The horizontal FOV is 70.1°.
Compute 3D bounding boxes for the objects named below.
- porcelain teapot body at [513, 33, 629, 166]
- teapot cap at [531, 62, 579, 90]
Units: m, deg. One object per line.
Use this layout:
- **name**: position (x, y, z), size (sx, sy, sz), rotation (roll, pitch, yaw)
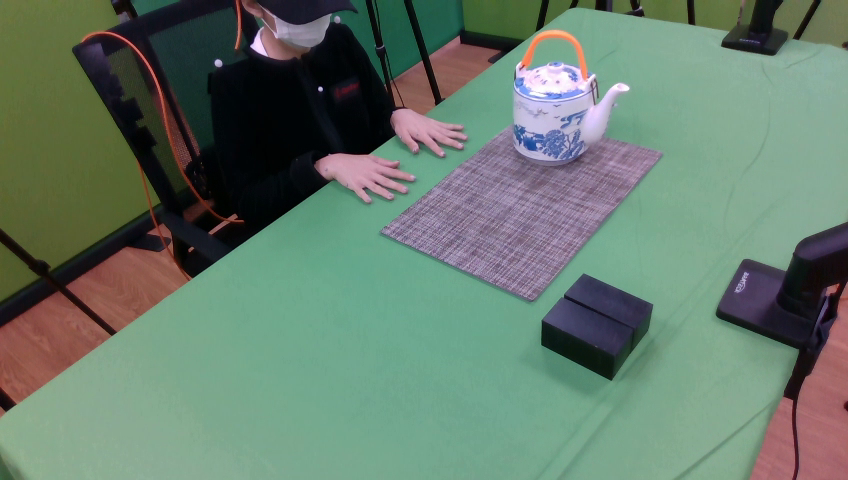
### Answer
- **porcelain teapot body**: position (0.256, -0.248, 1.065), size (0.204, 0.226, 0.145), rotation (19, 47, 28)
- **teapot cap**: position (0.228, -0.286, 1.054), size (0.085, 0.044, 0.085), rotation (-3, 40, 3)
